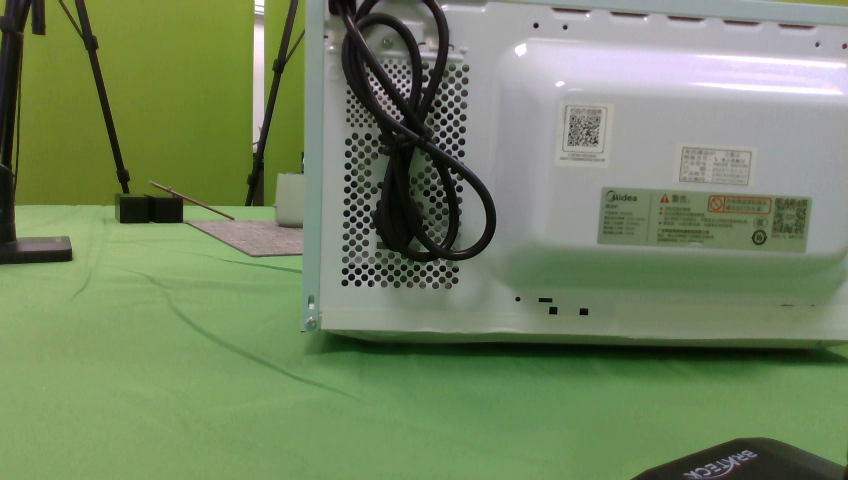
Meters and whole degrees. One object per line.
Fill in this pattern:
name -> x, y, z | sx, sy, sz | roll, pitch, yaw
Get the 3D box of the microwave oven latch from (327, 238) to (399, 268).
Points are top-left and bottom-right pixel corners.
microwave oven latch -> -0.069, 0.015, 0.694 | 0.079, 0.029, 0.030 | 3, 7, -2

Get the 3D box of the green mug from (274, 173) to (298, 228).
green mug -> -0.242, -0.081, 1.221 | 0.092, 0.105, 0.126 | 8, 9, 39

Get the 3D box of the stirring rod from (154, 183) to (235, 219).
stirring rod -> -0.472, -0.079, 1.252 | 0.177, 0.006, 0.014 | 27, 3, -35

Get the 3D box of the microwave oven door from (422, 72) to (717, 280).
microwave oven door -> 0.171, -0.088, 0.776 | 0.354, 0.243, 0.039 | 5, 7, 23

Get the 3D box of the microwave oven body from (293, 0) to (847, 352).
microwave oven body -> 0.122, -0.055, 0.550 | 0.442, 0.260, 0.325 | 3, 7, -5
